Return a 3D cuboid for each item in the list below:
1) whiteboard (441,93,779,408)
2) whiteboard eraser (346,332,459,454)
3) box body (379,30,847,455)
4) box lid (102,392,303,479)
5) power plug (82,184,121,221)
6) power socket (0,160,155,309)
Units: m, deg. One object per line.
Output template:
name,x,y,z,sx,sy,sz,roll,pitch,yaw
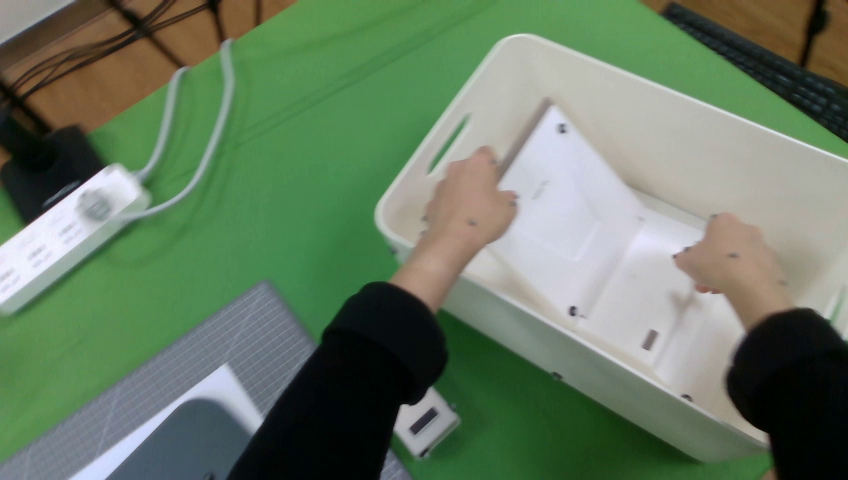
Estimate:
whiteboard,0.174,-0.004,0.582,0.303,0.145,0.216,29,70,20
whiteboard eraser,-0.021,0.147,0.589,0.055,0.042,0.112,-39,66,-14
box body,0.178,0.000,0.569,0.362,0.162,0.253,29,71,19
box lid,-0.179,0.337,0.530,0.369,0.015,0.263,37,73,20
power plug,-0.366,-0.033,0.694,0.035,0.053,0.072,-32,71,-9
power socket,-0.421,-0.009,0.714,0.226,0.033,0.071,-41,68,-14
